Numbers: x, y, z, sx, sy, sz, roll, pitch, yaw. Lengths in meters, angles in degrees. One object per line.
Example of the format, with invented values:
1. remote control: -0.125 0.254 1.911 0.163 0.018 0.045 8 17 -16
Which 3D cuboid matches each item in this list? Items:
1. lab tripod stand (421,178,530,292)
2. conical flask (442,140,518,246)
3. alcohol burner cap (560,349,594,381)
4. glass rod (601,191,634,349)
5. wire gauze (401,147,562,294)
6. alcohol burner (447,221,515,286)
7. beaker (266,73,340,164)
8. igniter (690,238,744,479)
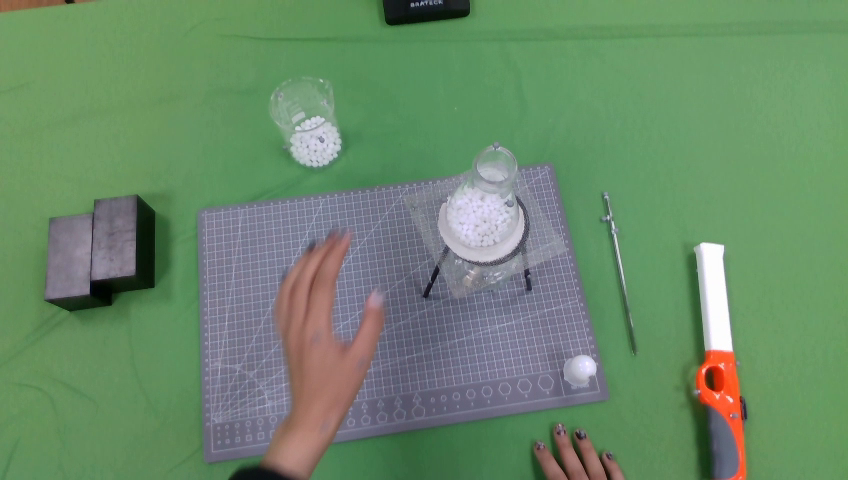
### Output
1. lab tripod stand: 0.058 0.003 0.669 0.148 0.132 0.147 0 72 0
2. conical flask: 0.056 -0.046 0.553 0.075 0.122 0.075 0 73 -1
3. alcohol burner cap: 0.172 0.137 0.671 0.034 0.048 0.033 0 71 -1
4. glass rod: 0.232 0.032 0.729 0.008 0.008 0.198 -3 71 -2
5. wire gauze: 0.057 -0.021 0.607 0.125 0.011 0.120 -23 75 -10
6. alcohol burner: 0.066 0.010 0.677 0.078 0.120 0.077 1 70 -2
7. beaker: -0.141 -0.145 0.740 0.073 0.101 0.084 39 74 12
8. igniter: 0.329 0.130 0.685 0.057 0.025 0.275 7 71 -9
